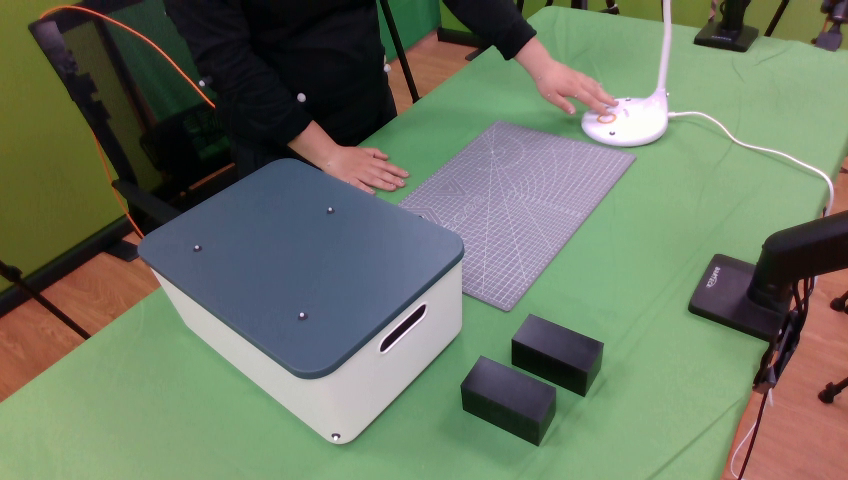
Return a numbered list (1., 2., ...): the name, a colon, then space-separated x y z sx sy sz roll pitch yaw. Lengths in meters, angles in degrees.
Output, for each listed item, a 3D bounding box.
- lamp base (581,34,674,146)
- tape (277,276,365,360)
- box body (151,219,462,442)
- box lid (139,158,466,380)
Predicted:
1. lamp base: 0.392 -0.291 1.129 0.180 0.181 0.159 -11 41 -8
2. tape: -0.140 0.106 0.832 0.117 0.053 0.116 -4 41 4
3. box body: -0.152 0.064 0.807 0.361 0.161 0.255 26 51 33
4. box lid: -0.158 0.010 0.757 0.368 0.015 0.264 26 50 33
